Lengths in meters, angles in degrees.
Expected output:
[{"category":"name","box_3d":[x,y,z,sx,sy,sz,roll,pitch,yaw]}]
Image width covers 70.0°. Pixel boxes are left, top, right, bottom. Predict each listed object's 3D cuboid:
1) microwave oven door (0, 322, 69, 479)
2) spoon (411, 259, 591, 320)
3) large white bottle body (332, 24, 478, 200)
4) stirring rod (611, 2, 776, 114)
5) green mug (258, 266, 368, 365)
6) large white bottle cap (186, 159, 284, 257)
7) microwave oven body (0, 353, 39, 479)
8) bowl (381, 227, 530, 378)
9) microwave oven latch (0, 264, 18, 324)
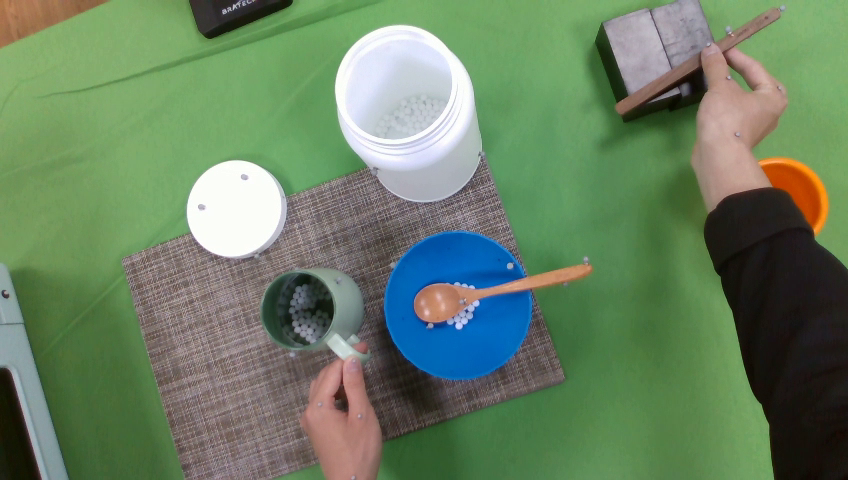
[{"category":"microwave oven door","box_3d":[-0.444,0.256,0.586,0.039,0.244,0.354,-22,83,5]},{"category":"spoon","box_3d":[0.073,0.048,0.610,0.193,0.022,0.041,-15,85,29]},{"category":"large white bottle body","box_3d":[-0.015,-0.122,0.608,0.130,0.185,0.130,-1,81,8]},{"category":"stirring rod","box_3d":[0.269,-0.182,0.612,0.176,0.006,0.014,-33,77,16]},{"category":"green mug","box_3d":[-0.108,0.084,0.644,0.125,0.105,0.092,44,90,8]},{"category":"large white bottle cap","box_3d":[-0.222,-0.038,0.710,0.115,0.018,0.114,-1,85,6]},{"category":"microwave oven body","box_3d":[-0.594,0.271,0.606,0.326,0.261,0.440,-21,84,4]},{"category":"bowl","box_3d":[0.035,0.065,0.642,0.151,0.077,0.151,-1,85,7]},{"category":"microwave oven latch","box_3d":[-0.507,0.062,0.710,0.030,0.029,0.079,-21,84,4]}]
